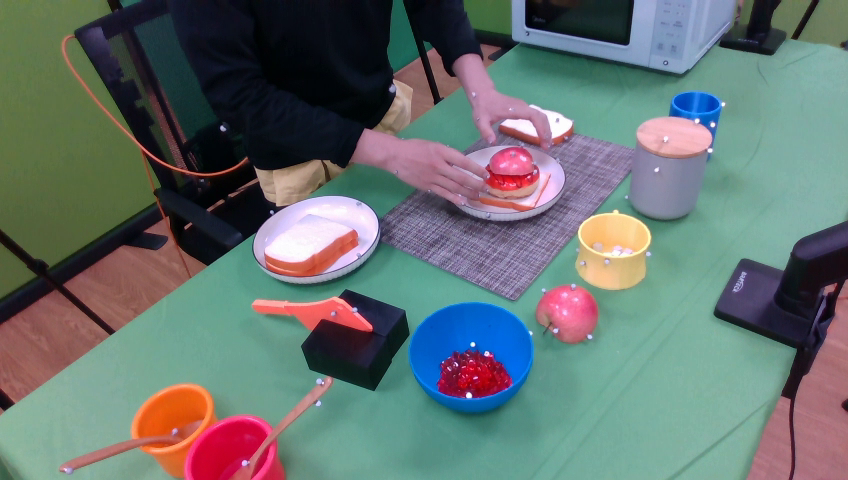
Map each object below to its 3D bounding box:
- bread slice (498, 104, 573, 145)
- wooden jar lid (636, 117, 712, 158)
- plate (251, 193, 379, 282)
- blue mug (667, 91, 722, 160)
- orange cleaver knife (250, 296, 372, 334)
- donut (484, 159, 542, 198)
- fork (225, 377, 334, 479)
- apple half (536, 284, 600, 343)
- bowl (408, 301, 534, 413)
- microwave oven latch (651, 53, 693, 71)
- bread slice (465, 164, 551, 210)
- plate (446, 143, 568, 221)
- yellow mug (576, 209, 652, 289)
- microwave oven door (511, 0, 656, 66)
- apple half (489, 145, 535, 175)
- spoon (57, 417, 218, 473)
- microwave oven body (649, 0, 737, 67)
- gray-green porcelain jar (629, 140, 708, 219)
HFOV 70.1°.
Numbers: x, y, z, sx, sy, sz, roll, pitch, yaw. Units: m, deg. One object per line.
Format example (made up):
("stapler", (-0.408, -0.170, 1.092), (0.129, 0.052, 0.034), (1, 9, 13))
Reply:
("bread slice", (0.231, -0.231, 1.205), (0.105, 0.019, 0.130), (-36, 47, -29))
("wooden jar lid", (0.377, -0.151, 0.917), (0.108, 0.021, 0.108), (-2, 42, 3))
("plate", (-0.174, -0.001, 0.984), (0.209, 0.038, 0.208), (-4, 40, 4))
("blue mug", (0.473, -0.207, 1.079), (0.082, 0.106, 0.116), (4, 42, 13))
("orange cleaver knife", (-0.158, 0.103, 0.828), (0.210, 0.078, 0.012), (-4, 43, 39))
("donut", (0.149, -0.110, 1.015), (0.099, 0.048, 0.098), (-4, 43, 4))
("fork", (-0.163, 0.216, 0.646), (0.207, 0.019, 0.028), (-49, 42, 16))
("apple half", (0.196, 0.091, 0.815), (0.075, 0.053, 0.080), (-22, 42, -20))
("bowl", (0.059, 0.156, 0.739), (0.151, 0.077, 0.150), (-4, 40, 4))
("microwave oven latch", (0.532, -0.386, 1.301), (0.078, 0.029, 0.030), (27, 52, 34))
("bread slice", (0.140, -0.094, 1.041), (0.133, 0.018, 0.107), (9, 42, 21))
("plate", (0.142, -0.097, 1.045), (0.207, 0.039, 0.206), (-4, 41, 4))
("yellow mug", (0.279, 0.004, 0.893), (0.099, 0.064, 0.130), (5, 42, 14))
("microwave oven door", (0.351, -0.539, 1.348), (0.353, 0.245, 0.039), (24, 50, 31))
("apple half", (0.145, -0.137, 0.995), (0.081, 0.033, 0.081), (-2, 33, 2))
("spoon", (-0.304, 0.221, 0.661), (0.041, 0.195, 0.021), (19, 92, 27))
("microwave oven body", (0.475, -0.602, 1.411), (0.438, 0.261, 0.327), (23, 50, 32))
("gray-green porcelain jar", (0.383, -0.105, 0.958), (0.106, 0.127, 0.105), (-4, 41, 4))
